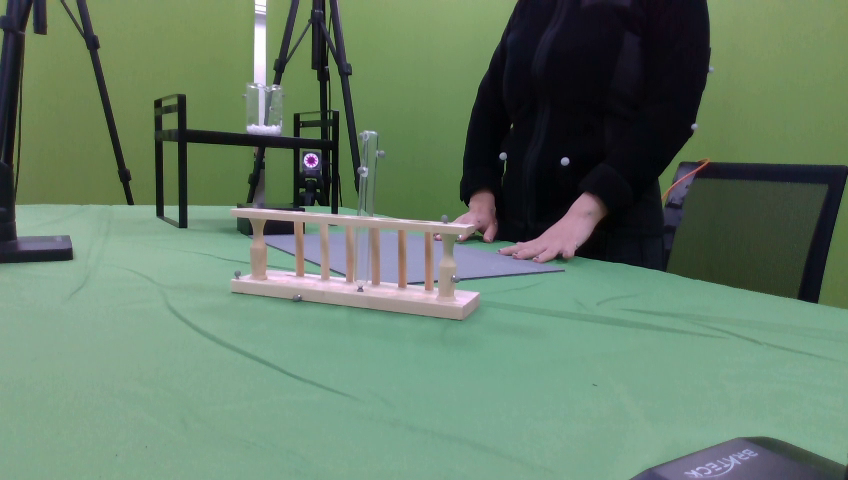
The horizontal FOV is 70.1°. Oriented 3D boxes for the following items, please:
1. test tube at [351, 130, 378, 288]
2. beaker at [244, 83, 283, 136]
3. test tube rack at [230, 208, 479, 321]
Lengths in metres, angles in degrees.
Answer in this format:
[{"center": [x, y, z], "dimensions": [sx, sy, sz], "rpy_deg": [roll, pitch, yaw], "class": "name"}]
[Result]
[{"center": [-0.057, -0.029, 0.575], "dimensions": [0.017, 0.150, 0.017], "rpy_deg": [4, 4, 0], "class": "test tube"}, {"center": [-0.322, -0.260, 1.215], "dimensions": [0.074, 0.100, 0.083], "rpy_deg": [-1, 9, -27], "class": "beaker"}, {"center": [-0.069, 0.017, 0.598], "dimensions": [0.242, 0.085, 0.067], "rpy_deg": [5, 8, 18], "class": "test tube rack"}]
